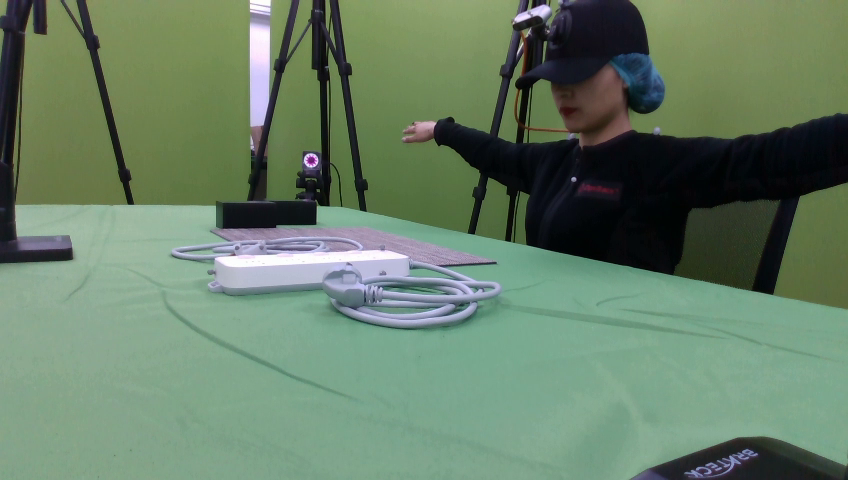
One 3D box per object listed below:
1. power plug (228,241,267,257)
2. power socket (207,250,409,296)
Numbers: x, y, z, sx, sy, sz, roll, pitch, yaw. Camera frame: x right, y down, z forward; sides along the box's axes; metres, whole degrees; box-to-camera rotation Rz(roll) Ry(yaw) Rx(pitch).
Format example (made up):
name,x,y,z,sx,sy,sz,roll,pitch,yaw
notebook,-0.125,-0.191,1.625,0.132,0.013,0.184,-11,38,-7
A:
name,x,y,z,sx,sy,sz,roll,pitch,yaw
power plug,-0.217,0.024,0.738,0.053,0.035,0.072,-23,-5,-9
power socket,-0.119,0.033,0.668,0.228,0.032,0.072,-2,9,-31
